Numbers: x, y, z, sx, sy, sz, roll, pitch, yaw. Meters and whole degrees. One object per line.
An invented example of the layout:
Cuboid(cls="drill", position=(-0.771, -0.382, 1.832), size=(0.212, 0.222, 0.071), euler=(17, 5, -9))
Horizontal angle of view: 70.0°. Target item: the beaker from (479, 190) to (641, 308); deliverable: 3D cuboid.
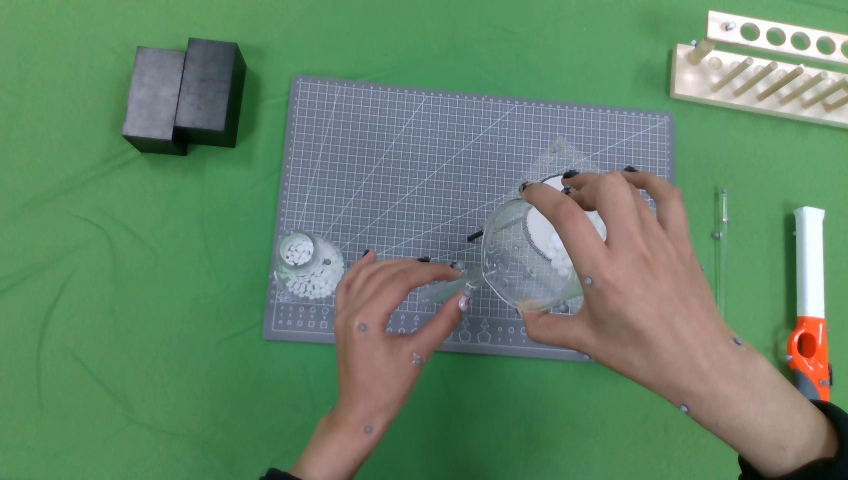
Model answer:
Cuboid(cls="beaker", position=(0.097, 0.004, 0.422), size=(0.101, 0.084, 0.073), euler=(-8, 75, -44))

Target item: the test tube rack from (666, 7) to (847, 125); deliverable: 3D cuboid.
Cuboid(cls="test tube rack", position=(0.420, -0.198, 0.705), size=(0.243, 0.085, 0.066), euler=(8, 79, -3))

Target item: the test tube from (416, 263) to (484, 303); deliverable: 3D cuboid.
Cuboid(cls="test tube", position=(0.017, 0.037, 0.490), size=(0.017, 0.150, 0.017), euler=(3, 78, -14))

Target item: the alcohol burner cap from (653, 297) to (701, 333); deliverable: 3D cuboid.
Cuboid(cls="alcohol burner cap", position=(0.248, 0.070, 0.588), size=(0.034, 0.048, 0.033), euler=(2, 73, -8))

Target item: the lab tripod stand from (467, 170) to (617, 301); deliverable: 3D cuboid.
Cuboid(cls="lab tripod stand", position=(0.125, -0.009, 0.617), size=(0.148, 0.132, 0.148), euler=(1, 81, -3))

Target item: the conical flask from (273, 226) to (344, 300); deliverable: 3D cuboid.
Cuboid(cls="conical flask", position=(-0.119, 0.017, 0.596), size=(0.075, 0.122, 0.075), euler=(1, 79, -5))

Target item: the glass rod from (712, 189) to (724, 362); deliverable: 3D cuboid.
Cuboid(cls="glass rod", position=(0.337, 0.039, 0.695), size=(0.008, 0.008, 0.199), euler=(6, 82, -4))

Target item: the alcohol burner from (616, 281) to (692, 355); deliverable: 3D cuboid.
Cuboid(cls="alcohol burner", position=(0.245, 0.079, 0.622), size=(0.078, 0.119, 0.077), euler=(0, 79, -2))

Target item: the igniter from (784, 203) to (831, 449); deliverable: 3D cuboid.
Cuboid(cls="igniter", position=(0.432, 0.093, 0.683), size=(0.057, 0.025, 0.275), euler=(9, 79, -14))

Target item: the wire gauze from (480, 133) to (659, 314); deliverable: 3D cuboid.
Cuboid(cls="wire gauze", position=(0.132, -0.018, 0.551), size=(0.125, 0.011, 0.121), euler=(41, 80, 3))
